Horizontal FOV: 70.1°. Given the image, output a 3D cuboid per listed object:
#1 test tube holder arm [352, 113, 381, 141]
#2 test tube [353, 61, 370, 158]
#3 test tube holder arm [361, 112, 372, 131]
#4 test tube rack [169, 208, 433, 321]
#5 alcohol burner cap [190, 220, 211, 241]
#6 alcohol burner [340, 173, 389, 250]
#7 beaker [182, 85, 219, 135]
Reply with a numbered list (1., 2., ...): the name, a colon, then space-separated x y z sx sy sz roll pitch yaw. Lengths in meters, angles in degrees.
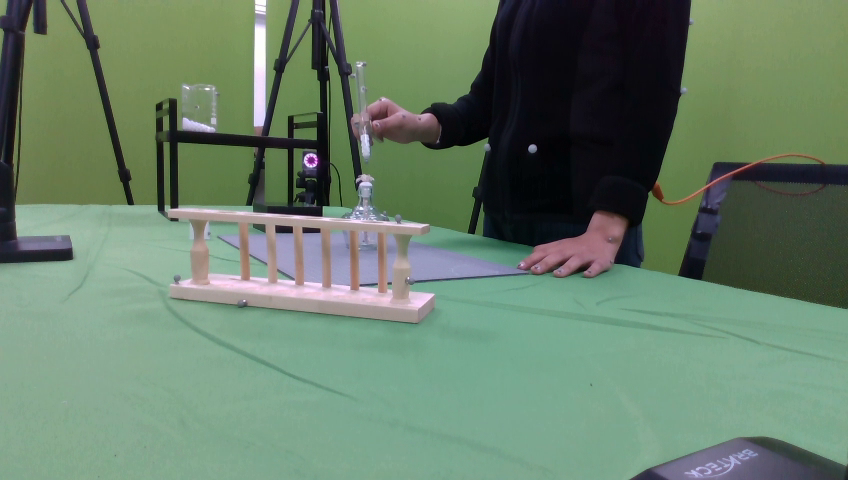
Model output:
1. test tube holder arm: -0.093 -0.186 1.004 0.013 0.015 0.178 -2 -1 6
2. test tube: -0.097 -0.202 0.937 0.017 0.150 0.017 -5 -2 0
3. test tube holder arm: -0.091 -0.186 0.959 0.010 0.015 0.088 -3 -1 -1
4. test tube rack: -0.115 0.017 0.574 0.242 0.085 0.067 4 8 13
5. alcohol burner cap: -0.365 -0.023 0.988 0.034 0.048 0.034 2 8 0
6. alcohol burner: -0.093 -0.045 0.939 0.078 0.119 0.078 0 7 0
7. beaker: -0.479 -0.276 1.291 0.074 0.100 0.084 2 8 -1
